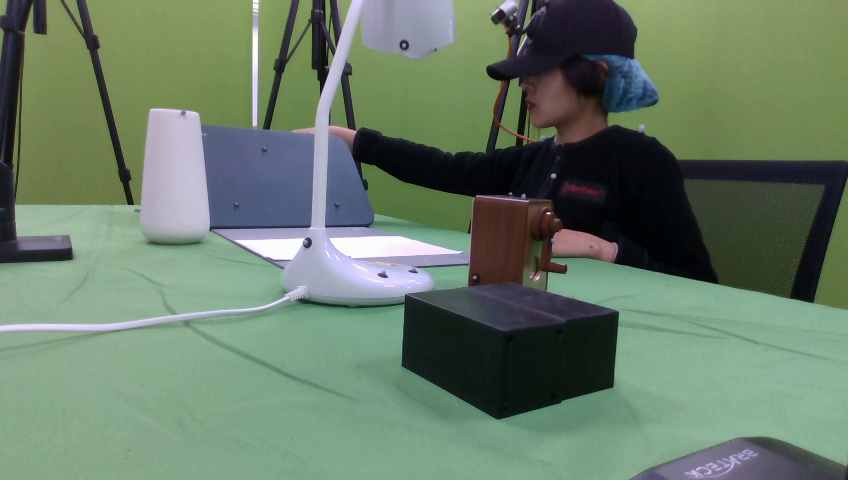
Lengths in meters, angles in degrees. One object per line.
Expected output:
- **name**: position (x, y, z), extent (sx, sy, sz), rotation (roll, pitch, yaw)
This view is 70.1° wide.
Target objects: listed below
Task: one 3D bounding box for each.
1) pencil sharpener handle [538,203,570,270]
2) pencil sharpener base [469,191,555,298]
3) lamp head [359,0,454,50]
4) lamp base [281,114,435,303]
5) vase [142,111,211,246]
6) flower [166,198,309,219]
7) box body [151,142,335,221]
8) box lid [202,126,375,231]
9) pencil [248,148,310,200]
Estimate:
- **pencil sharpener handle**: position (0.137, -0.003, 0.619), extent (0.030, 0.067, 0.036), rotation (8, 5, 38)
- **pencil sharpener base**: position (0.097, 0.003, 0.652), extent (0.076, 0.107, 0.061), rotation (8, 9, 38)
- **lamp head**: position (-0.024, -0.283, 0.674), extent (0.112, 0.123, 0.112), rotation (-3, 38, 3)
- **lamp base**: position (-0.071, -0.035, 0.614), extent (0.160, 0.180, 0.180), rotation (6, 10, 27)
- **vase**: position (-0.378, -0.093, 0.920), extent (0.098, 0.200, 0.098), rotation (2, 9, 0)
- **flower**: position (-0.399, -0.061, 1.357), extent (0.044, 0.038, 0.364), rotation (-36, -22, 32)
- **box body**: position (-0.413, -0.134, 1.379), extent (0.366, 0.160, 0.253), rotation (-2, 9, -31)
- **box lid**: position (-0.294, -0.128, 1.235), extent (0.373, 0.262, 0.015), rotation (-2, -35, -32)
- **pencil**: position (-0.338, -0.158, 1.420), extent (0.194, 0.012, 0.012), rotation (-46, 32, -25)
